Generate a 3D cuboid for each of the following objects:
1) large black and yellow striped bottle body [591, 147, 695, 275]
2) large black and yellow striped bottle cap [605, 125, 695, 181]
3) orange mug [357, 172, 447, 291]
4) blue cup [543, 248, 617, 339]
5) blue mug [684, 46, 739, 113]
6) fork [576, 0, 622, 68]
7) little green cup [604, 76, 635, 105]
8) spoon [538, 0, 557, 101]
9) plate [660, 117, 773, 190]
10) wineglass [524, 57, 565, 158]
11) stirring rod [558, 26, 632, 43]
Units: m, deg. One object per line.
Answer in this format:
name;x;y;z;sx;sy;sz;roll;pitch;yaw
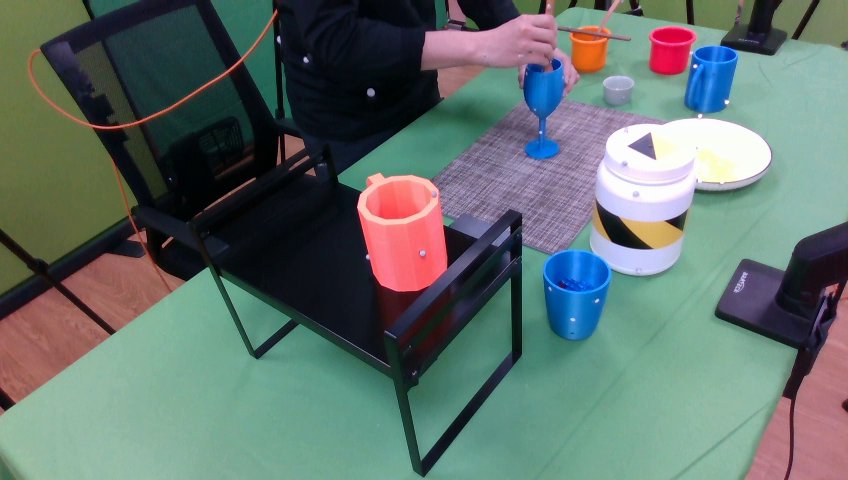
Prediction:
large black and yellow striped bottle body;0.313;-0.056;0.870;0.131;0.185;0.130;-4;40;4
large black and yellow striped bottle cap;0.304;-0.120;0.817;0.115;0.019;0.114;-3;41;3
orange mug;-0.030;-0.018;0.669;0.084;0.101;0.125;-23;47;-16
blue cup;0.199;0.076;0.797;0.092;0.100;0.092;-4;39;4
blue mug;0.556;-0.310;1.190;0.117;0.106;0.081;-32;46;-25
fork;0.409;-0.484;1.381;0.028;0.019;0.207;37;101;46
little green cup;0.408;-0.311;1.266;0.061;0.039;0.061;-4;40;4
spoon;0.211;-0.326;1.027;0.042;0.194;0.021;-20;36;-18
plate;0.495;-0.149;1.063;0.209;0.038;0.208;-5;40;5
wineglass;0.218;-0.239;1.101;0.074;0.173;0.073;-4;41;4
stirring rod;0.381;-0.462;1.356;0.175;0.006;0.014;22;49;29
